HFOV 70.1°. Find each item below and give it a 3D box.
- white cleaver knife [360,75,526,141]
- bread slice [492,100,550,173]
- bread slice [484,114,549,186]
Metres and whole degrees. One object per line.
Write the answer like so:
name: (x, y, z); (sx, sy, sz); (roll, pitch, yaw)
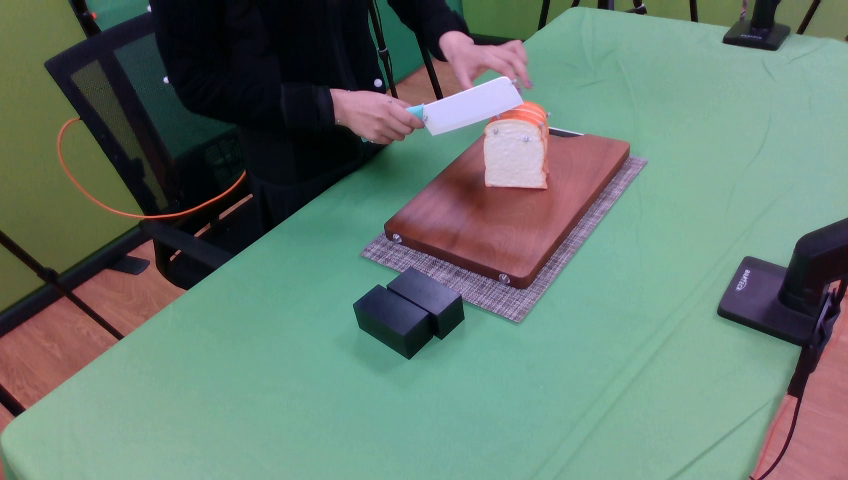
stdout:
white cleaver knife: (0.020, -0.194, 0.956); (0.285, 0.066, 0.021); (-11, 39, 29)
bread slice: (0.164, -0.176, 1.031); (0.104, 0.132, 0.019); (4, 37, 14)
bread slice: (0.148, -0.145, 0.995); (0.106, 0.135, 0.018); (0, 42, 17)
